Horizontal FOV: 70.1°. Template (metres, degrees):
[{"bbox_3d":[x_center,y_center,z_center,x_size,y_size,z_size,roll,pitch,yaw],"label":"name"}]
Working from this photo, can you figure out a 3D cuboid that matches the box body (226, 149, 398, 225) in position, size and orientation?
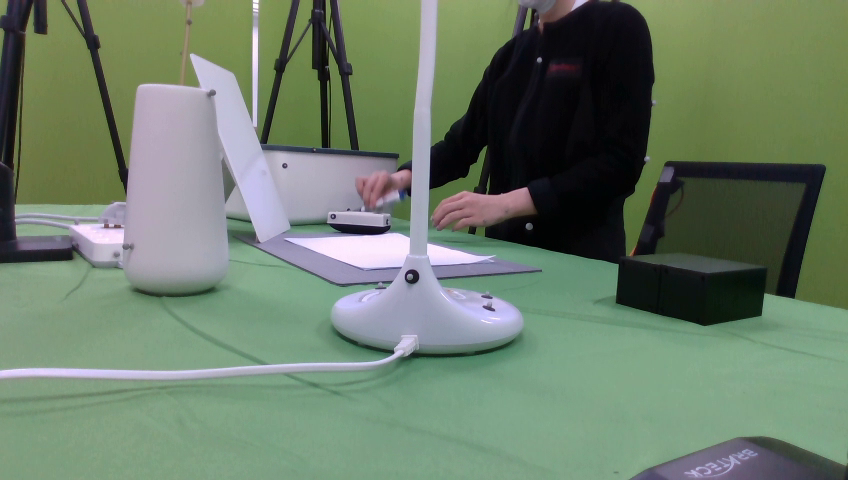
[{"bbox_3d":[-0.265,-0.129,1.380,0.253,0.160,0.366,8,9,39],"label":"box body"}]

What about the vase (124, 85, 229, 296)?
[{"bbox_3d":[-0.244,-0.047,0.598,0.098,0.200,0.098,3,8,0],"label":"vase"}]

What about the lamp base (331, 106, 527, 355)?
[{"bbox_3d":[0.006,-0.012,0.478,0.161,0.180,0.179,2,10,2],"label":"lamp base"}]

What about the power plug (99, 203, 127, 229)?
[{"bbox_3d":[-0.415,-0.026,0.848,0.073,0.052,0.035,6,5,-28],"label":"power plug"}]

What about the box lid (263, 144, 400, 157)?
[{"bbox_3d":[-0.263,-0.203,1.369,0.262,0.015,0.373,9,10,39],"label":"box lid"}]

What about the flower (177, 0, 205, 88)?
[{"bbox_3d":[-0.243,-0.131,0.609,0.044,0.361,0.038,-5,-12,11],"label":"flower"}]

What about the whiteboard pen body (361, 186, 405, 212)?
[{"bbox_3d":[-0.089,-0.076,1.189,0.140,0.017,0.017,-23,-11,40],"label":"whiteboard pen body"}]

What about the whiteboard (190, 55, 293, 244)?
[{"bbox_3d":[-0.362,-0.129,1.029,0.144,0.305,0.217,-18,7,3],"label":"whiteboard"}]

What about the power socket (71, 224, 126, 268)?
[{"bbox_3d":[-0.409,0.004,0.793,0.072,0.032,0.225,-2,8,-37],"label":"power socket"}]

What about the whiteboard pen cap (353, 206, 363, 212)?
[{"bbox_3d":[-0.131,-0.058,1.226,0.033,0.018,0.018,-22,-11,41],"label":"whiteboard pen cap"}]

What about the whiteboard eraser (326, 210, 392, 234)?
[{"bbox_3d":[-0.121,-0.033,1.131,0.112,0.042,0.056,4,8,13],"label":"whiteboard eraser"}]
